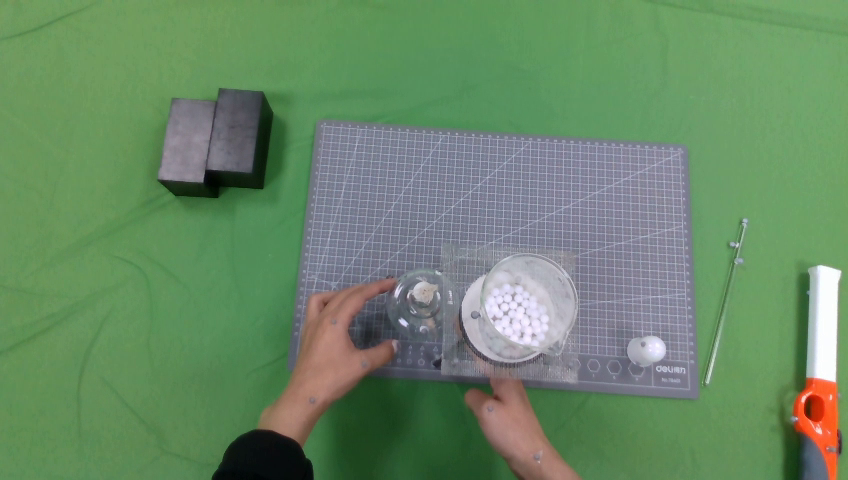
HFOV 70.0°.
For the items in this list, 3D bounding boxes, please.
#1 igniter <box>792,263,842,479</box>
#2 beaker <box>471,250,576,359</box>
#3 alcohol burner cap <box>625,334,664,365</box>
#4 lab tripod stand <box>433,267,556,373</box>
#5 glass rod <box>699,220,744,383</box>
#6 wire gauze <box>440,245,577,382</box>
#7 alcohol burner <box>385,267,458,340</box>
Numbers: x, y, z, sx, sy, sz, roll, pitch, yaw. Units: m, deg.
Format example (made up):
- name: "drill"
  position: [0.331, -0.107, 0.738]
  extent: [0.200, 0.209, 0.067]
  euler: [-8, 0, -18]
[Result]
- name: "igniter"
  position: [0.428, 0.160, 0.658]
  extent: [0.057, 0.025, 0.275]
  euler: [15, 75, -9]
- name: "beaker"
  position: [0.078, 0.061, 0.499]
  extent: [0.074, 0.101, 0.083]
  euler: [-27, 76, -8]
- name: "alcohol burner cap"
  position: [0.240, 0.117, 0.654]
  extent: [0.034, 0.048, 0.033]
  euler: [0, 74, 0]
- name: "lab tripod stand"
  position: [0.073, 0.084, 0.611]
  extent: [0.148, 0.132, 0.147]
  euler: [0, 74, 1]
- name: "glass rod"
  position: [0.340, 0.067, 0.690]
  extent: [0.008, 0.008, 0.199]
  euler: [20, 76, 4]
- name: "wire gauze"
  position: [0.075, 0.064, 0.548]
  extent: [0.125, 0.011, 0.121]
  euler: [3, 73, 2]
- name: "alcohol burner"
  position: [-0.002, 0.062, 0.625]
  extent: [0.078, 0.120, 0.077]
  euler: [0, 72, -1]
